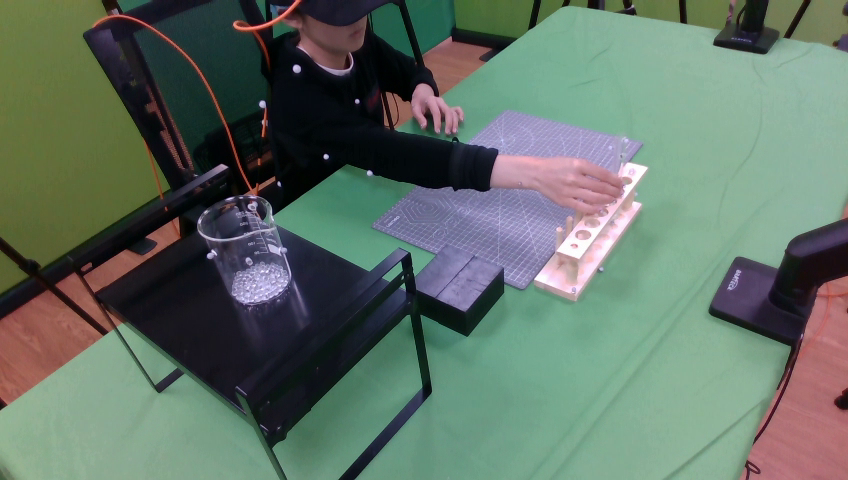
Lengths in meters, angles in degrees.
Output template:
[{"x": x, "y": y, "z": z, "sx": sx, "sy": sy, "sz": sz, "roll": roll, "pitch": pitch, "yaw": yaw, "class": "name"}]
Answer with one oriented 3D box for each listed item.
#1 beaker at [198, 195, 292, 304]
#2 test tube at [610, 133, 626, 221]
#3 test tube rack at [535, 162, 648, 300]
[{"x": -0.185, "y": 0.014, "z": 0.651, "sx": 0.083, "sy": 0.101, "sz": 0.074, "roll": 9, "pitch": 44, "yaw": 18, "class": "beaker"}, {"x": 0.285, "y": -0.090, "z": 0.891, "sx": 0.017, "sy": 0.151, "sz": 0.017, "roll": -6, "pitch": 39, "yaw": 5, "class": "test tube"}, {"x": 0.257, "y": -0.024, "z": 0.916, "sx": 0.066, "sy": 0.085, "sz": 0.243, "roll": 22, "pitch": 49, "yaw": 30, "class": "test tube rack"}]
